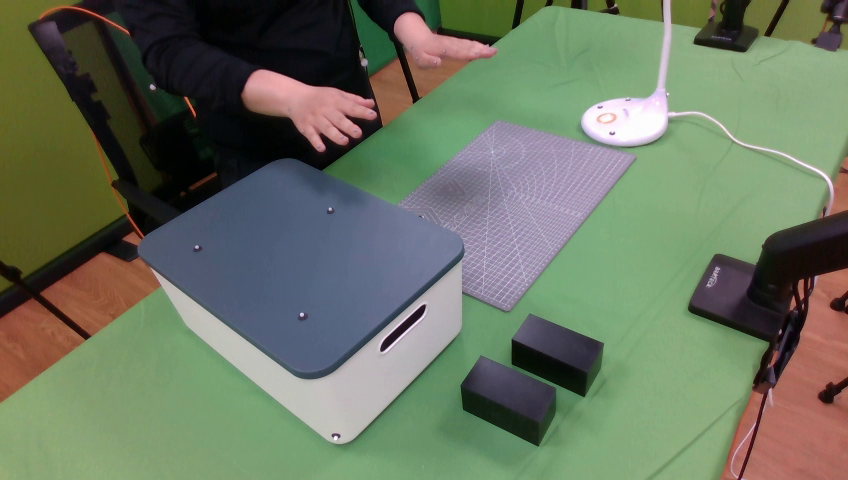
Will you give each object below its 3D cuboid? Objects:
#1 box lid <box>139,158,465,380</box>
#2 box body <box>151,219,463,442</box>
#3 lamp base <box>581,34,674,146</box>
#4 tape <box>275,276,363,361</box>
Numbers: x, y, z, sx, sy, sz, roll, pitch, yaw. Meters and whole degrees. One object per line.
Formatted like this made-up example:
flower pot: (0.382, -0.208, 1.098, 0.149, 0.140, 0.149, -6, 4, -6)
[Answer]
box lid: (-0.158, 0.010, 0.758, 0.368, 0.015, 0.264, 26, 50, 33)
box body: (-0.152, 0.064, 0.807, 0.361, 0.161, 0.255, 26, 51, 33)
lamp base: (0.392, -0.291, 1.129, 0.180, 0.181, 0.159, -11, 41, -8)
tape: (-0.143, 0.107, 0.831, 0.117, 0.053, 0.116, -4, 41, 4)
